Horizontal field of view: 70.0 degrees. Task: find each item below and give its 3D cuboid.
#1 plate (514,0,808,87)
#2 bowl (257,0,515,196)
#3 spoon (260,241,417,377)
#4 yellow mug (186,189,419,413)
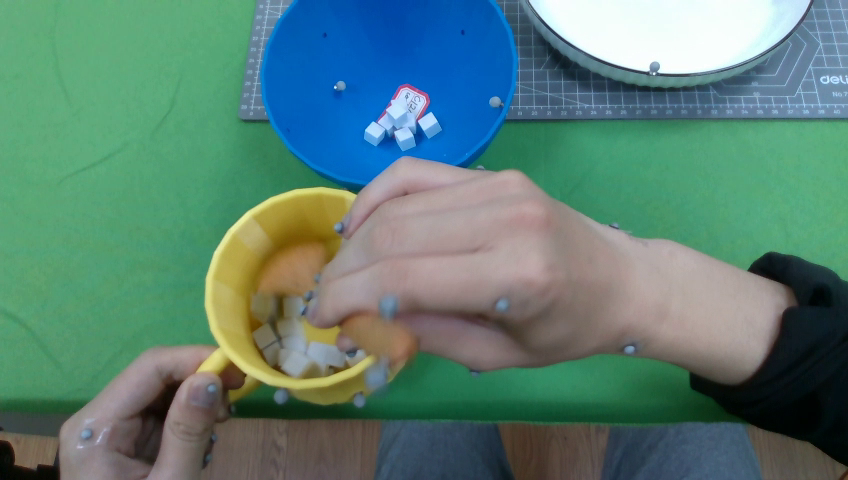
[{"bbox_3d":[0.161,-0.193,0.432,0.209,0.038,0.207,-1,70,3],"label":"plate"},{"bbox_3d":[-0.020,-0.089,0.385,0.151,0.077,0.150,-1,74,4],"label":"bowl"},{"bbox_3d":[-0.038,0.023,0.247,0.041,0.192,0.022,-32,110,-16],"label":"spoon"},{"bbox_3d":[-0.065,0.042,0.311,0.131,0.064,0.099,-41,74,-12],"label":"yellow mug"}]
